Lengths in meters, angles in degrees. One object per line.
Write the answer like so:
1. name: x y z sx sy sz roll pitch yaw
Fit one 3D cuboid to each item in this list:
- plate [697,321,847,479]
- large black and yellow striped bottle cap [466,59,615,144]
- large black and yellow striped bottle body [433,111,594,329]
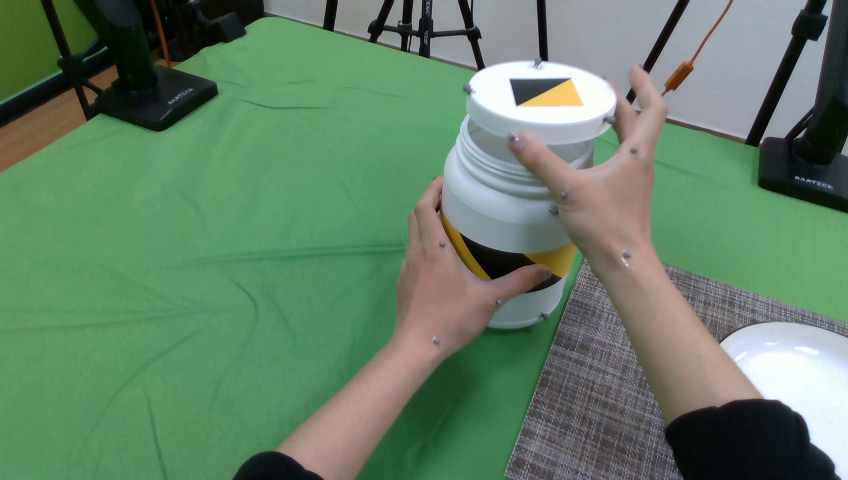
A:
1. plate: 0.324 0.156 0.488 0.208 0.039 0.205 3 43 -2
2. large black and yellow striped bottle cap: 0.091 -0.111 0.473 0.115 0.019 0.114 2 40 -1
3. large black and yellow striped bottle body: 0.078 -0.022 0.553 0.131 0.185 0.129 2 43 -2
